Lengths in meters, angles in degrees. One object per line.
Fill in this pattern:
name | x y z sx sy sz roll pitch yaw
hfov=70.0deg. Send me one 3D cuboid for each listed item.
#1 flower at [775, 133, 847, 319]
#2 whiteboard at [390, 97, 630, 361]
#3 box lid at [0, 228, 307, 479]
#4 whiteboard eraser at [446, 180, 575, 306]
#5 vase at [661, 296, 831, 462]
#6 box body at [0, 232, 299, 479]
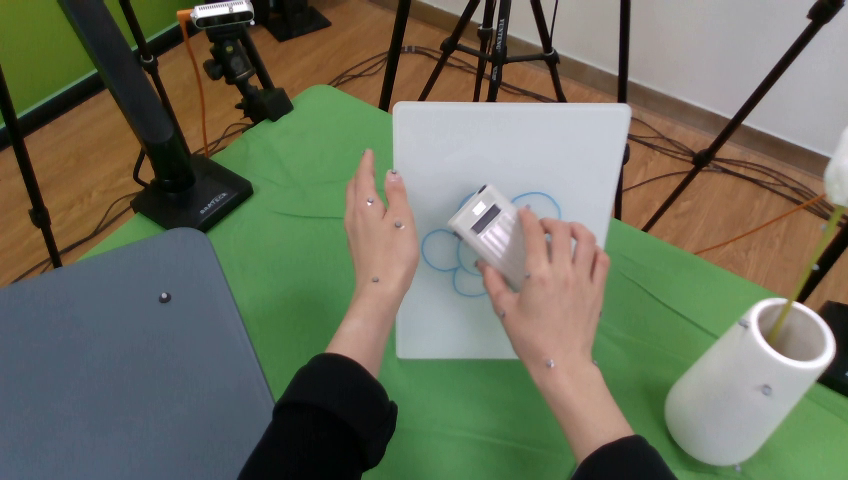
flower | 0.304 0.071 0.524 0.044 0.364 0.038 22 36 19
whiteboard | 0.075 -0.028 0.673 0.217 0.308 0.142 1 32 -1
box lid | -0.253 0.151 0.470 0.264 0.015 0.367 -22 55 -19
whiteboard eraser | 0.076 0.003 0.540 0.113 0.041 0.055 44 94 -8
vase | 0.300 0.135 0.579 0.098 0.202 0.097 1 50 -1
box body | -0.254 0.200 0.527 0.254 0.162 0.360 -22 55 -18
